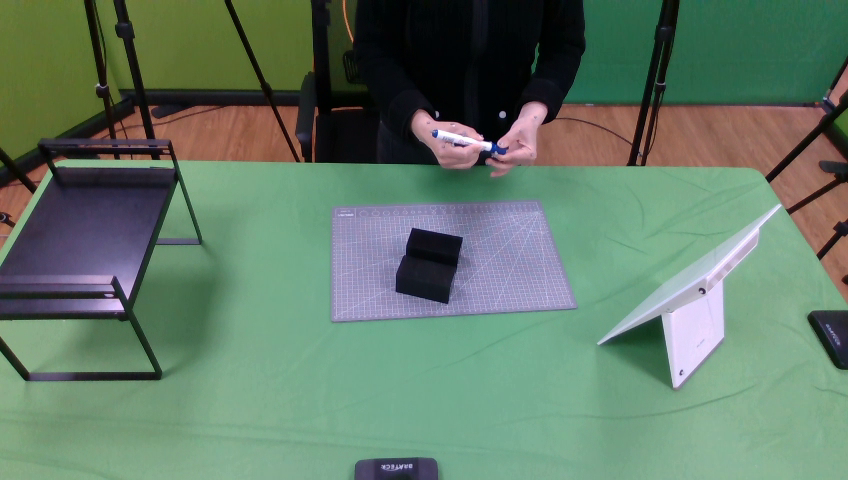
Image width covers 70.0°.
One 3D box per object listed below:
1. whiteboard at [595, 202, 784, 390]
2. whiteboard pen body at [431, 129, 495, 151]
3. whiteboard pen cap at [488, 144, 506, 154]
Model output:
[{"bbox_3d":[0.459,0.112,0.968,0.217,0.306,0.143,-31,75,-29],"label":"whiteboard"},{"bbox_3d":[0.079,-0.175,1.071,0.141,0.017,0.017,9,43,-22],"label":"whiteboard pen body"},{"bbox_3d":[0.131,-0.165,1.096,0.033,0.018,0.018,8,43,-21],"label":"whiteboard pen cap"}]
